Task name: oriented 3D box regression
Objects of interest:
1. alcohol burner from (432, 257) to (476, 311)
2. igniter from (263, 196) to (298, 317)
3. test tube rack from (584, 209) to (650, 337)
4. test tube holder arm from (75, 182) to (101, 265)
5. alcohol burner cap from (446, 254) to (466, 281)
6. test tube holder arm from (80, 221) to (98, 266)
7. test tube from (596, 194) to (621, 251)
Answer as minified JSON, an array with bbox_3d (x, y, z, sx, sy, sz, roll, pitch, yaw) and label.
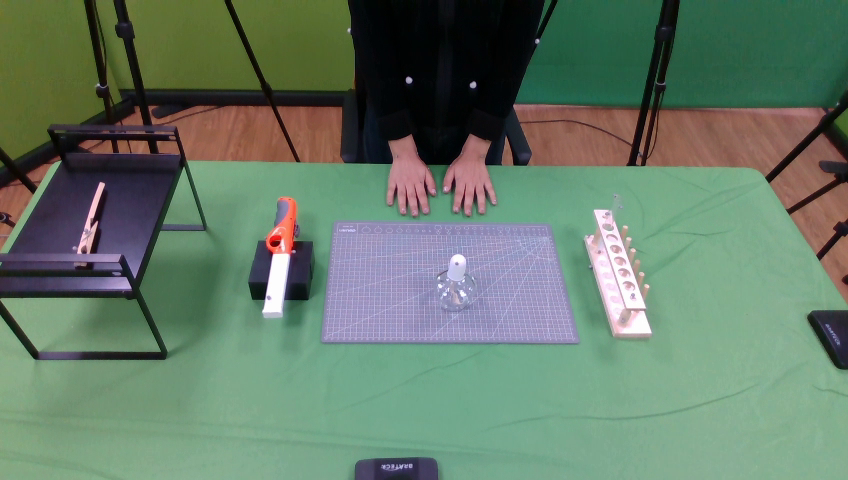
[{"bbox_3d":[0.055,0.070,1.068,0.078,0.119,0.077,3,45,-3],"label":"alcohol burner"},{"bbox_3d":[-0.259,0.020,1.089,0.057,0.025,0.274,-2,49,-3],"label":"igniter"},{"bbox_3d":[0.365,0.056,1.129,0.067,0.085,0.240,1,46,-4],"label":"test tube rack"},{"bbox_3d":[-0.518,-0.030,0.937,0.013,0.015,0.177,25,33,-37],"label":"test tube holder arm"},{"bbox_3d":[0.058,0.044,1.043,0.034,0.048,0.033,4,45,-4],"label":"alcohol burner cap"},{"bbox_3d":[-0.504,0.004,0.910,0.010,0.015,0.087,26,32,-36],"label":"test tube holder arm"},{"bbox_3d":[0.346,-0.029,1.141,0.017,0.151,0.017,0,50,0],"label":"test tube"}]
